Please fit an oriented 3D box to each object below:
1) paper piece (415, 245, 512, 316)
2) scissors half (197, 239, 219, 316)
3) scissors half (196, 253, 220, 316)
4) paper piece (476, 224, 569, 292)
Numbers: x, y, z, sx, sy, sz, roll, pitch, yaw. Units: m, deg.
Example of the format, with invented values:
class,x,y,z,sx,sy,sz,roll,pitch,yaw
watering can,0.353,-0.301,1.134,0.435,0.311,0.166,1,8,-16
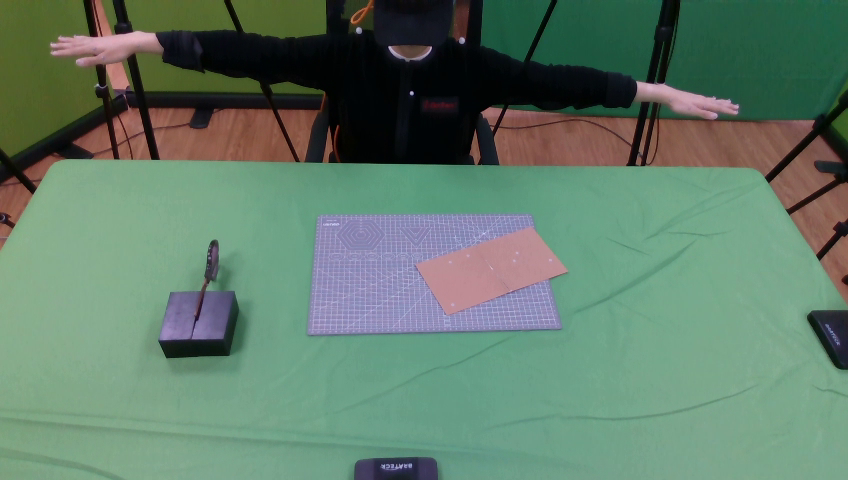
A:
class,x,y,z,sx,sy,sz,roll,pitch,yaw
paper piece,0.072,0.071,1.140,0.138,0.009,0.135,-18,46,-18
scissors half,-0.375,0.063,1.049,0.013,0.040,0.174,7,46,-12
scissors half,-0.379,0.078,1.062,0.013,0.040,0.174,3,29,-8
paper piece,0.192,0.033,1.185,0.136,0.004,0.134,-17,51,-19
